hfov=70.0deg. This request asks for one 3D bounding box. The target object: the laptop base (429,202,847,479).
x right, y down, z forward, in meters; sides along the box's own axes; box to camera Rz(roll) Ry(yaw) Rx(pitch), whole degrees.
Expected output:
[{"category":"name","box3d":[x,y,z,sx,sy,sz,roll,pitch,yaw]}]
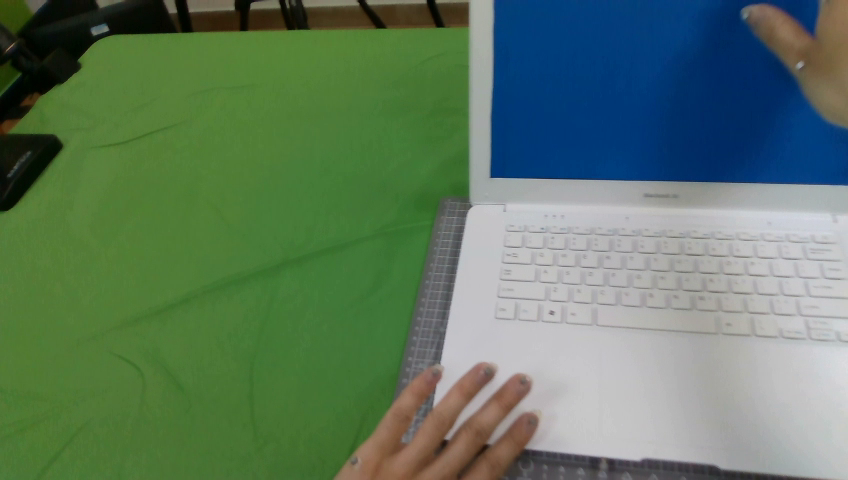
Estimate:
[{"category":"laptop base","box3d":[0.193,0.066,0.487,0.353,0.023,0.233,2,54,12]}]

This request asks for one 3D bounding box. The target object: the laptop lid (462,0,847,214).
[{"category":"laptop lid","box3d":[0.207,-0.130,0.513,0.356,0.243,0.013,1,23,12]}]
